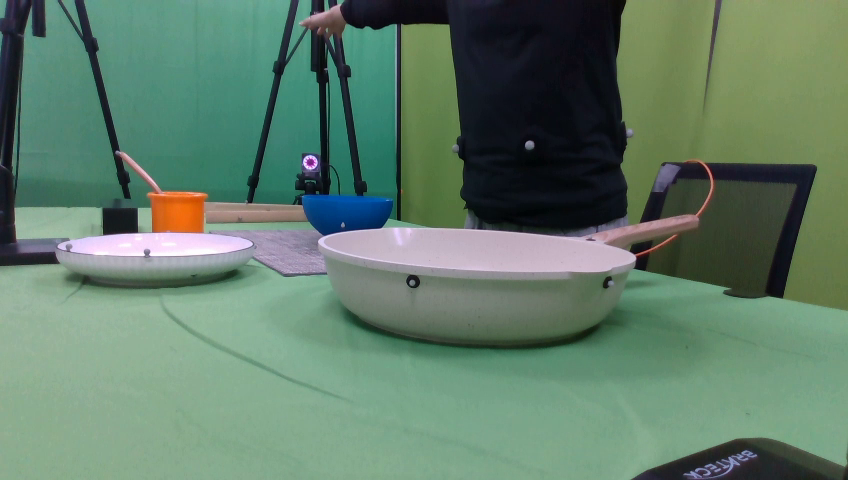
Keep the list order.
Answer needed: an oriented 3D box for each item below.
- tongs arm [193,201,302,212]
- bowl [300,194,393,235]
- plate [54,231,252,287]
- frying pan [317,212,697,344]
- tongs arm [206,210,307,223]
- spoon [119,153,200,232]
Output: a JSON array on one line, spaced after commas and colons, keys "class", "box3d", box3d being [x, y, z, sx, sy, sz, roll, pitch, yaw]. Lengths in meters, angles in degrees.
[{"class": "tongs arm", "box3d": [-0.338, -0.072, 1.429, 0.387, 0.026, 0.050, 0, 9, -26]}, {"class": "bowl", "box3d": [-0.128, -0.034, 0.996, 0.151, 0.077, 0.151, 2, 7, 0]}, {"class": "plate", "box3d": [-0.309, 0.020, 0.705, 0.208, 0.039, 0.207, 3, 7, 0]}, {"class": "frying pan", "box3d": [0.133, 0.013, 0.629, 0.490, 0.102, 0.305, -12, 14, -31]}, {"class": "tongs arm", "box3d": [-0.297, -0.057, 1.361, 0.390, 0.028, 0.028, -4, 8, -39]}, {"class": "spoon", "box3d": [-0.439, -0.077, 1.000, 0.021, 0.193, 0.042, -43, -7, 21]}]
